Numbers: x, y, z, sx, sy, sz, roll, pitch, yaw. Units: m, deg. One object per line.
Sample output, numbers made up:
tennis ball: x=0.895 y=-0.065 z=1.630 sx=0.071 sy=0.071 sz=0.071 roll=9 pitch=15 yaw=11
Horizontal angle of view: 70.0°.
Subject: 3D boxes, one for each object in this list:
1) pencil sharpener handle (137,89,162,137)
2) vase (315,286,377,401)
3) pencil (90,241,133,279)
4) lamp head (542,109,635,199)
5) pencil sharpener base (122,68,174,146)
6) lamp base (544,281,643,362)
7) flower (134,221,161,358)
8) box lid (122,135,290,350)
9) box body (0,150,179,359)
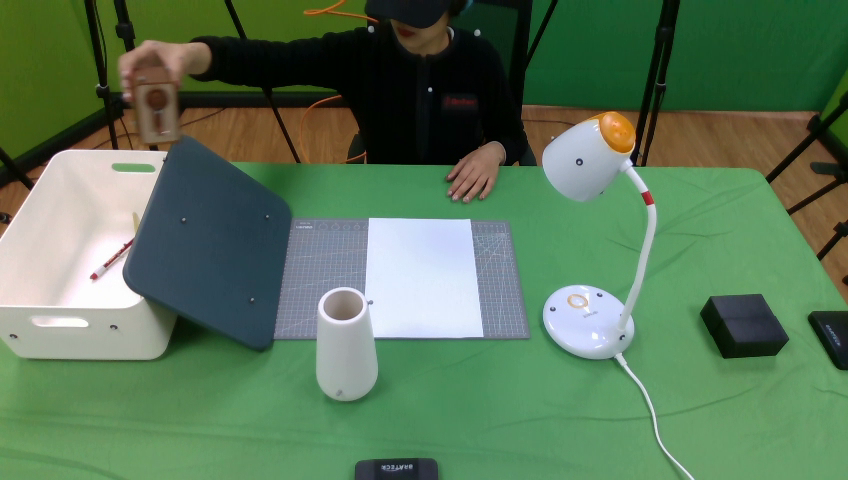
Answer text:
pencil sharpener handle: x=-0.420 y=-0.195 z=0.934 sx=0.036 sy=0.068 sz=0.030 roll=-7 pitch=37 yaw=-28
vase: x=-0.119 y=0.159 z=0.911 sx=0.098 sy=0.201 sz=0.097 roll=2 pitch=47 yaw=-2
pencil: x=-0.551 y=0.007 z=1.145 sx=0.012 sy=0.012 sz=0.193 roll=23 pitch=50 yaw=18
lamp head: x=0.253 y=-0.131 z=0.893 sx=0.113 sy=0.123 sz=0.112 roll=10 pitch=66 yaw=-24
pencil sharpener base: x=-0.444 y=-0.213 z=0.977 sx=0.061 sy=0.107 sz=0.076 roll=-10 pitch=39 yaw=-26
lamp base: x=0.303 y=0.095 z=1.014 sx=0.161 sy=0.181 sz=0.178 roll=-24 pitch=54 yaw=-24
flower: x=-0.508 y=0.071 z=1.093 sx=0.044 sy=0.038 sz=0.359 roll=-41 pitch=45 yaw=8
box lid: x=-0.355 y=-0.006 z=1.059 sx=0.015 sy=0.265 sz=0.369 roll=-33 pitch=39 yaw=26
box body: x=-0.541 y=0.020 z=1.041 sx=0.254 sy=0.161 sz=0.361 roll=1 pitch=46 yaw=-3
